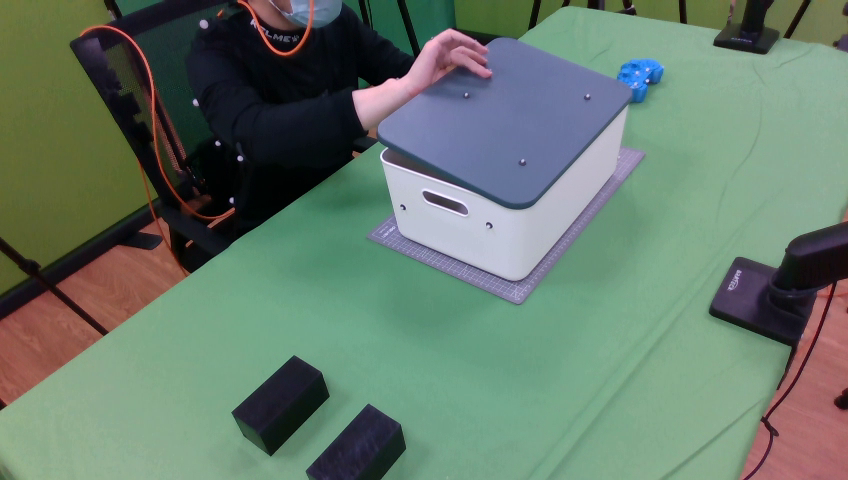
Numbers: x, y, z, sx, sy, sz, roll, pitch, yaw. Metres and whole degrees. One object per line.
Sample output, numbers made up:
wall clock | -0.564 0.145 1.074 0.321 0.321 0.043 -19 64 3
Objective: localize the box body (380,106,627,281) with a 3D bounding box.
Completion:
box body | 0.139 -0.123 0.980 0.252 0.161 0.365 22 48 30

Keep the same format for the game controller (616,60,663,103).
game controller | 0.442 -0.344 1.288 0.096 0.052 0.155 25 50 27

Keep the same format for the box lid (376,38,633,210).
box lid | 0.133 -0.196 0.917 0.261 0.015 0.372 30 52 21
